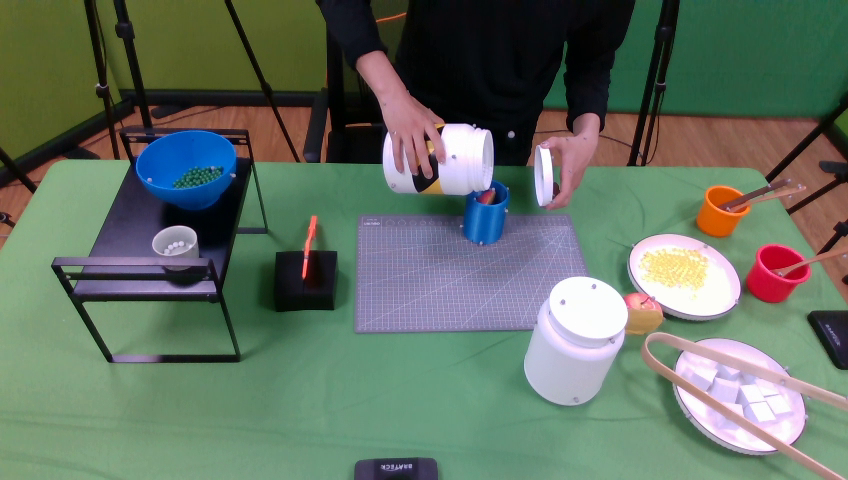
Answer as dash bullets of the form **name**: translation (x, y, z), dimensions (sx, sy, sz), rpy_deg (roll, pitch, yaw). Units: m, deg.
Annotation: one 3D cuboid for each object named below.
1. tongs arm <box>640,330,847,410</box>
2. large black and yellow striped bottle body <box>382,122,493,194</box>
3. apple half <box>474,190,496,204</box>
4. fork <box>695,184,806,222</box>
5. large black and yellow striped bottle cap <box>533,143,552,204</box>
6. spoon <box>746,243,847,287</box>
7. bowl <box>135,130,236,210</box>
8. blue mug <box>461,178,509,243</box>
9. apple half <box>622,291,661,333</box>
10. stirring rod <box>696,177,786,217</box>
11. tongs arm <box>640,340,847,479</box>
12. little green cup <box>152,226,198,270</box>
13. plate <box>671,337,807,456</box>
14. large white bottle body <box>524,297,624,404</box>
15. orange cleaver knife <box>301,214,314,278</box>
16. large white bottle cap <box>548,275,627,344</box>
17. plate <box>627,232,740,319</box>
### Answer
- **tongs arm**: translation (0.543, 0.225, 0.969), dimensions (0.384, 0.026, 0.050), rpy_deg (22, 52, 13)
- **large black and yellow striped bottle body**: translation (0.028, -0.151, 1.114), dimensions (0.184, 0.131, 0.130), rpy_deg (3, 45, 17)
- **apple half**: translation (0.109, -0.067, 1.200), dimensions (0.032, 0.081, 0.081), rpy_deg (28, 50, 11)
- **fork**: translation (0.658, -0.074, 1.230), dimensions (0.207, 0.019, 0.028), rpy_deg (-24, 33, 36)
- **large black and yellow striped bottle cap**: translation (0.221, -0.124, 1.134), dimensions (0.019, 0.115, 0.114), rpy_deg (-4, 46, 2)
- **spoon**: translation (0.702, 0.043, 1.126), dimensions (0.194, 0.022, 0.041), rpy_deg (-29, 38, 30)
- **bowl**: translation (-0.375, -0.102, 0.977), dimensions (0.151, 0.077, 0.150), rpy_deg (2, 46, -2)
- **blue mug**: translation (0.114, -0.070, 1.210), dimensions (0.082, 0.106, 0.115), rpy_deg (-12, 48, -15)
- **apple half**: translation (0.372, 0.123, 1.074), dimensions (0.081, 0.075, 0.053), rpy_deg (0, 42, 1)
- **stirring rod**: translation (0.648, -0.087, 1.244), dimensions (0.176, 0.006, 0.014), rpy_deg (-25, 50, 29)
- **tongs arm**: translation (0.500, 0.277, 0.919), dimensions (0.386, 0.028, 0.028), rpy_deg (34, 59, 22)
- **little green cup**: translation (-0.364, 0.013, 0.894), dimensions (0.061, 0.039, 0.061), rpy_deg (3, 46, -3)
- **plate**: translation (0.504, 0.254, 0.984), dimensions (0.208, 0.039, 0.206), rpy_deg (2, 46, -2)
- **large white bottle body**: translation (0.235, 0.159, 0.952), dimensions (0.131, 0.185, 0.130), rpy_deg (2, 47, -2)
- **orange cleaver knife**: translation (-0.218, 0.007, 1.131), dimensions (0.012, 0.077, 0.210), rpy_deg (7, 19, -9)
- **large white bottle cap**: translation (0.240, 0.100, 0.890), dimensions (0.115, 0.018, 0.114), rpy_deg (3, 47, -3)
- **plate**: translation (0.489, 0.070, 1.156), dimensions (0.209, 0.038, 0.208), rpy_deg (3, 46, -3)
